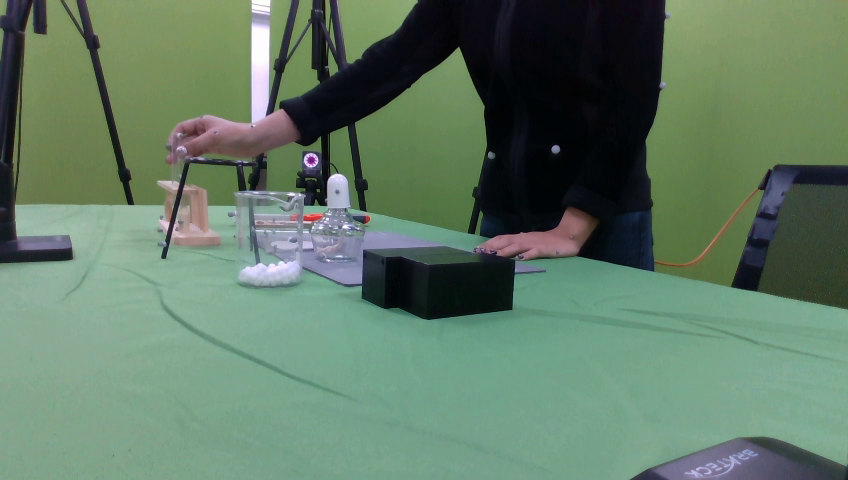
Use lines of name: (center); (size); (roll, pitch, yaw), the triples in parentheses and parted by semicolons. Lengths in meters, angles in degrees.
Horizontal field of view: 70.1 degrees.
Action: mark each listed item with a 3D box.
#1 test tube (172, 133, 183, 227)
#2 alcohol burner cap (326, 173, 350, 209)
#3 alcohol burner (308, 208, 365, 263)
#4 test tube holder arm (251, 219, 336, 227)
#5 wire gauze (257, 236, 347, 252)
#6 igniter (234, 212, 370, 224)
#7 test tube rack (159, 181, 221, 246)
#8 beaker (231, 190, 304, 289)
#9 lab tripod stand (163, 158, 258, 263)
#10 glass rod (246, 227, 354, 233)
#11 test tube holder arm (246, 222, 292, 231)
test tube: (-0.391, -0.095, 0.961); (0.017, 0.150, 0.017); (1, 4, 0)
alcohol burner cap: (-0.116, -0.065, 0.807); (0.034, 0.048, 0.034); (-4, 10, 1)
alcohol burner: (-0.117, -0.030, 0.813); (0.078, 0.119, 0.078); (4, 9, 0)
test tube holder arm: (-0.254, -0.031, 1.157); (0.179, 0.015, 0.013); (-3, 47, -31)
wire gauze: (-0.190, 0.006, 0.931); (0.122, 0.011, 0.124); (0, 7, -21)
igniter: (-0.245, -0.045, 1.247); (0.278, 0.025, 0.057); (-1, -2, -26)
test tube rack: (-0.395, -0.050, 1.010); (0.067, 0.085, 0.241); (-2, 8, -28)
beaker: (-0.167, -0.001, 0.653); (0.074, 0.100, 0.083); (-4, 11, -40)
lab tripod stand: (-0.265, -0.041, 0.802); (0.148, 0.131, 0.148); (4, 7, 0)
glass rod: (-0.224, -0.017, 1.109); (0.201, 0.008, 0.008); (1, 7, -27)
test tube holder arm: (-0.291, -0.026, 1.130); (0.088, 0.015, 0.010); (-2, 46, -30)
